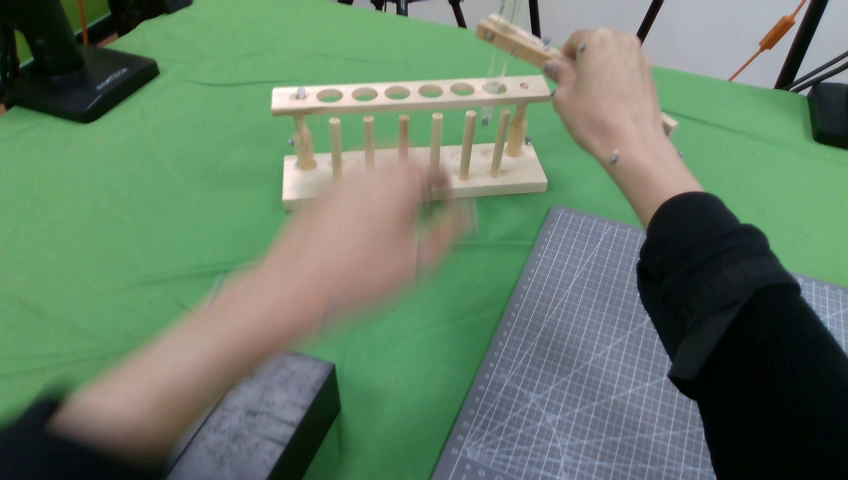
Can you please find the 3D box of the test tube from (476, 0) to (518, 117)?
[{"bbox_3d":[0.062,-0.164,0.505,0.017,0.151,0.017,4,50,-4],"label":"test tube"}]

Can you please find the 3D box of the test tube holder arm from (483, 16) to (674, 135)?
[{"bbox_3d":[0.117,-0.133,0.479,0.177,0.015,0.013,36,60,20],"label":"test tube holder arm"}]

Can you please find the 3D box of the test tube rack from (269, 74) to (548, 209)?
[{"bbox_3d":[-0.010,-0.090,0.549,0.243,0.086,0.066,-5,45,-7],"label":"test tube rack"}]

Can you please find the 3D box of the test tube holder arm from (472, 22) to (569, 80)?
[{"bbox_3d":[0.078,-0.153,0.491,0.087,0.015,0.010,30,57,17],"label":"test tube holder arm"}]
